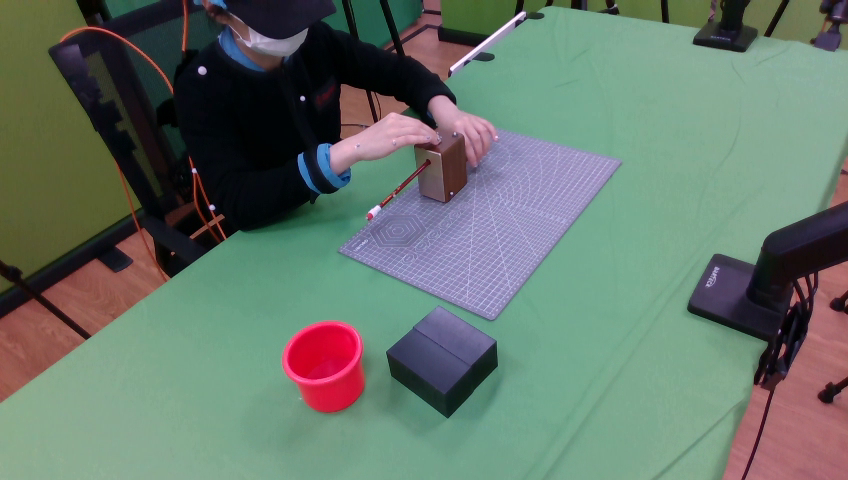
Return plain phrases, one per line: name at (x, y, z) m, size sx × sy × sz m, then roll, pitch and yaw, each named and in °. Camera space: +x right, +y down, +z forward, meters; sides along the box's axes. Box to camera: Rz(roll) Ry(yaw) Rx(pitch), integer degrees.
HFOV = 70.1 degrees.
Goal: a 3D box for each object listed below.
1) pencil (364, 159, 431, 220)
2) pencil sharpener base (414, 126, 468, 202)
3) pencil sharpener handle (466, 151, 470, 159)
pencil at (-0.031, -0.092, 0.977) m, size 0.012 × 0.012 × 0.194 m, roll 24°, pitch 54°, yaw 32°
pencil sharpener base at (0.032, -0.132, 1.047) m, size 0.061 × 0.107 × 0.077 m, roll 21°, pitch 48°, yaw 30°
pencil sharpener handle at (0.063, -0.170, 1.068) m, size 0.035 × 0.068 × 0.031 m, roll 11°, pitch 42°, yaw 38°
